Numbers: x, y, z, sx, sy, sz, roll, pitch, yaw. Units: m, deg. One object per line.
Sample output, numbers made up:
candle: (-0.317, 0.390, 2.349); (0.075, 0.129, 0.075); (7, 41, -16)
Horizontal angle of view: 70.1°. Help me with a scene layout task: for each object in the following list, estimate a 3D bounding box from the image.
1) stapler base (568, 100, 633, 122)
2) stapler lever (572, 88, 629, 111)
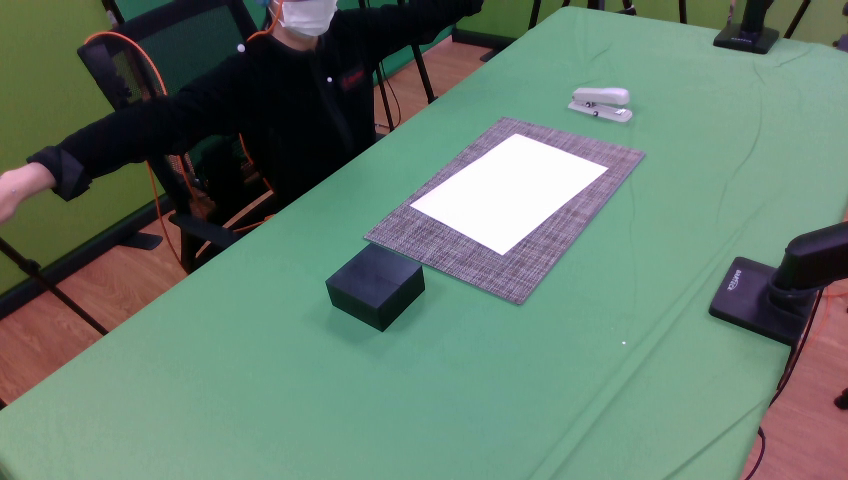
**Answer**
stapler base: (0.361, -0.273, 1.237); (0.129, 0.024, 0.041); (24, 48, 34)
stapler lever: (0.357, -0.292, 1.222); (0.117, 0.040, 0.027); (25, 49, 33)
